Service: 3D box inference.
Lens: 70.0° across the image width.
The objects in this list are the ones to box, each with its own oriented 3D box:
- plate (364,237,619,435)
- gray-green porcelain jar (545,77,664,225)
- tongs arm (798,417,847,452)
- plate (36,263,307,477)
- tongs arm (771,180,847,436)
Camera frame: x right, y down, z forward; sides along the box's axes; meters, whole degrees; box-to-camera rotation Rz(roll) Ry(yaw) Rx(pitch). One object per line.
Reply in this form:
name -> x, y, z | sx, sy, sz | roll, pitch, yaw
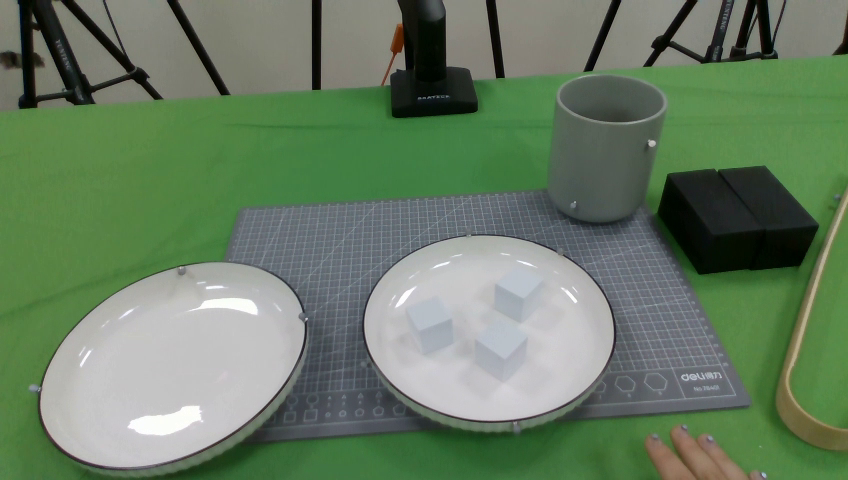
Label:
plate -> 0.055, 0.077, 0.511 | 0.207, 0.039, 0.205 | -2, 40, 2
gray-green porcelain jar -> 0.181, -0.088, 0.627 | 0.106, 0.127, 0.105 | -2, 40, 2
tongs arm -> 0.435, 0.058, 0.516 | 0.385, 0.027, 0.050 | -32, 48, -28
plate -> -0.197, 0.101, 0.497 | 0.209, 0.038, 0.207 | -3, 40, 3
tongs arm -> 0.376, 0.026, 0.562 | 0.028, 0.028, 0.386 | 26, 48, 25
